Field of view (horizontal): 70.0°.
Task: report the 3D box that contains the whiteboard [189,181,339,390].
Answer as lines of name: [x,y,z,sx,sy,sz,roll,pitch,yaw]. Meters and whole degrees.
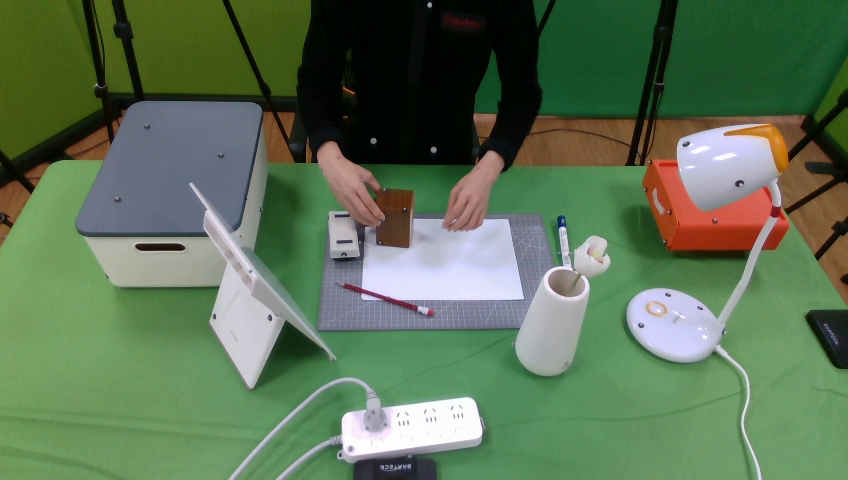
whiteboard: [-0.292,0.096,0.929,0.144,0.307,0.216,-37,57,-10]

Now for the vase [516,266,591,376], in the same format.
vase: [0.208,0.132,0.964,0.098,0.201,0.097,3,46,-3]

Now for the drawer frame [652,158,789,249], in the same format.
drawer frame: [0.571,-0.075,1.214,0.214,0.083,0.200,0,45,-1]

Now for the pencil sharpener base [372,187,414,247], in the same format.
pencil sharpener base: [-0.060,-0.043,1.171,0.077,0.107,0.061,5,46,1]

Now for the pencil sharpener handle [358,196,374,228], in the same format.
pencil sharpener handle: [-0.111,-0.053,1.160,0.030,0.068,0.036,5,33,1]

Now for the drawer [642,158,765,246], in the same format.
drawer: [0.566,-0.076,1.211,0.212,0.073,0.193,2,45,-2]

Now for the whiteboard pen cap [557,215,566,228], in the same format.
whiteboard pen cap: [0.284,-0.035,1.246,0.018,0.018,0.033,4,52,-1]

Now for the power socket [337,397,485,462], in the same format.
power socket: [-0.018,0.285,0.915,0.227,0.033,0.071,-5,46,-8]

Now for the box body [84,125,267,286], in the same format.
box body: [-0.446,-0.088,1.150,0.254,0.161,0.361,-1,46,-5]

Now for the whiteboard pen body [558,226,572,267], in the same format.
whiteboard pen body: [0.280,0.010,1.208,0.017,0.017,0.140,3,50,-1]

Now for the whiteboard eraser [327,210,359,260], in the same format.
whiteboard eraser: [-0.159,-0.009,1.177,0.055,0.042,0.112,-5,47,-7]

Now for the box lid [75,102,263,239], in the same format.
box lid: [-0.443,-0.138,1.094,0.263,0.015,0.369,-1,47,-5]

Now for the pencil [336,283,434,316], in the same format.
pencil: [-0.074,0.105,1.097,0.194,0.012,0.012,16,47,13]

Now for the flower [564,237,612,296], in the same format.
flower: [0.206,0.088,0.893,0.038,0.363,0.044,-16,67,-9]

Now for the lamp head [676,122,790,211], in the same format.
lamp head: [0.423,-0.104,0.819,0.122,0.113,0.112,-13,33,40]

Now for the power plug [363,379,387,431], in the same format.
power plug: [-0.072,0.252,0.910,0.035,0.053,0.072,3,45,-1]

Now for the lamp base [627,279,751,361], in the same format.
lamp base: [0.459,0.100,1.027,0.178,0.181,0.160,27,51,17]
